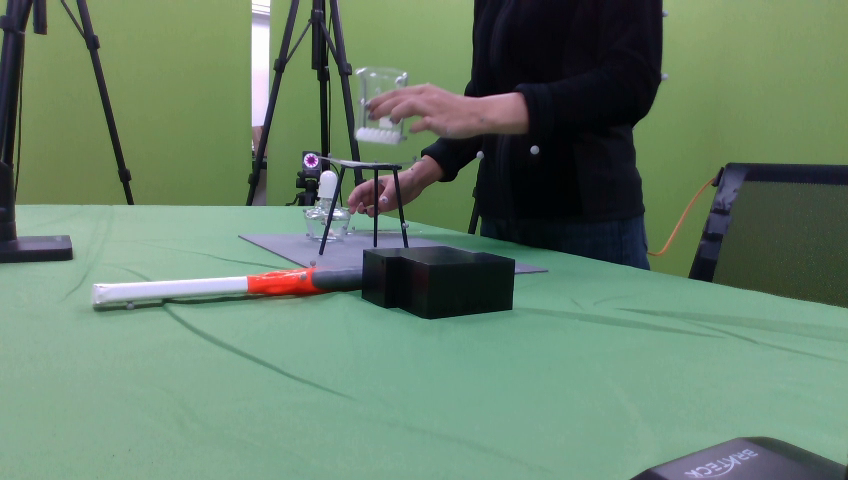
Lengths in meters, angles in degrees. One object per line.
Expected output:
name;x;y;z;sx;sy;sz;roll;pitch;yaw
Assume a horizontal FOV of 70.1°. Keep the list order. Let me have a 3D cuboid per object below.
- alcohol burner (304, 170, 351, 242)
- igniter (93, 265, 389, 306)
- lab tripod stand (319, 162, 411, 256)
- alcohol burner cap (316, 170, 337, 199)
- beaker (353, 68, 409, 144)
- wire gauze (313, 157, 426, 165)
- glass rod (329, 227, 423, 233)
alcohol burner;-0.161;-0.057;1.008;0.078;0.119;0.078;1;9;0
igniter;-0.164;0.042;0.589;0.278;0.025;0.057;-2;-7;-31
lab tripod stand;-0.081;-0.047;0.879;0.148;0.131;0.148;2;9;0
alcohol burner cap;-0.160;-0.093;1.004;0.034;0.048;0.034;5;4;0
beaker;-0.067;-0.190;0.867;0.084;0.100;0.073;0;9;-34
wire gauze;-0.080;-0.113;0.868;0.122;0.011;0.124;-4;10;-36
glass rod;-0.087;-0.019;1.148;0.201;0.008;0.008;-3;8;-32
